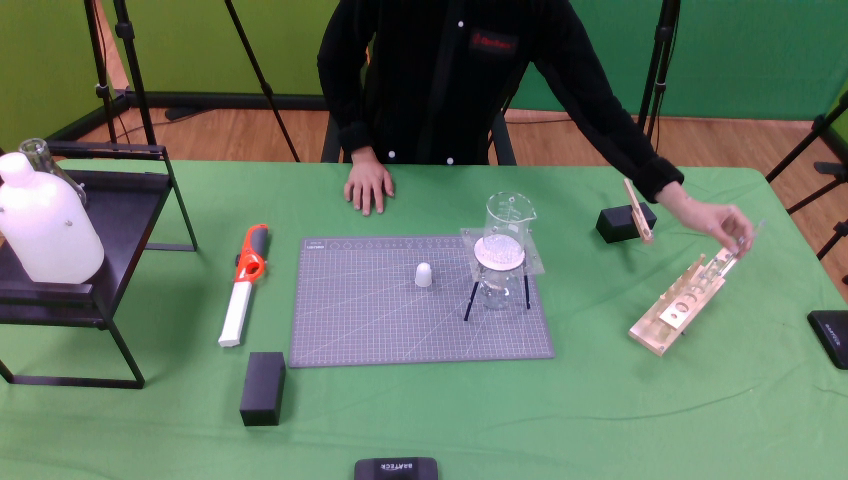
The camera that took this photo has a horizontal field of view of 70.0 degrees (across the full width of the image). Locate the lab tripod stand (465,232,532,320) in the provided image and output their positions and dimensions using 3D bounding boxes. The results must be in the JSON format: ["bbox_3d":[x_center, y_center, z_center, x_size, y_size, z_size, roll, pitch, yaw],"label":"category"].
[{"bbox_3d":[0.125,0.059,1.065,0.148,0.132,0.147,1,45,0],"label":"lab tripod stand"}]

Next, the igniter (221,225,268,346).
[{"bbox_3d":[-0.323,0.072,1.100,0.057,0.025,0.274,-6,45,5],"label":"igniter"}]

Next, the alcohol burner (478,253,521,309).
[{"bbox_3d":[0.134,0.067,1.073,0.078,0.120,0.077,0,47,0],"label":"alcohol burner"}]

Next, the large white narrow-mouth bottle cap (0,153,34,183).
[{"bbox_3d":[-0.510,-0.090,0.754,0.038,0.024,0.037,2,46,-2],"label":"large white narrow-mouth bottle cap"}]

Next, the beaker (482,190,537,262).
[{"bbox_3d":[0.136,-0.019,0.983,0.084,0.101,0.073,17,47,14],"label":"beaker"}]

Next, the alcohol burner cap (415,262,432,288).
[{"bbox_3d":[0.000,0.061,1.119,0.034,0.048,0.033,3,43,-3],"label":"alcohol burner cap"}]

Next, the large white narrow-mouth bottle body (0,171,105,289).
[{"bbox_3d":[-0.513,-0.029,0.818,0.102,0.195,0.101,2,46,-2],"label":"large white narrow-mouth bottle body"}]

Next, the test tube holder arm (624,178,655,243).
[{"bbox_3d":[0.432,-0.062,1.220,0.013,0.015,0.177,1,47,-4],"label":"test tube holder arm"}]

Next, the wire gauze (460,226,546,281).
[{"bbox_3d":[0.130,0.017,1.016,0.121,0.011,0.124,-4,43,-9],"label":"wire gauze"}]

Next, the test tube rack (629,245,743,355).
[{"bbox_3d":[0.474,0.095,1.091,0.242,0.085,0.066,-34,57,-31],"label":"test tube rack"}]

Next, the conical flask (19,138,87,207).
[{"bbox_3d":[-0.576,-0.097,0.930,0.075,0.122,0.075,2,46,-2],"label":"conical flask"}]

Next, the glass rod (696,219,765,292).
[{"bbox_3d":[0.510,0.031,1.016,0.008,0.200,0.008,7,49,-8],"label":"glass rod"}]

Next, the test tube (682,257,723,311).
[{"bbox_3d":[0.475,0.080,1.037,0.017,0.151,0.017,1,51,-1],"label":"test tube"}]

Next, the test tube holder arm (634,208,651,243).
[{"bbox_3d":[0.428,-0.030,1.189,0.010,0.015,0.087,2,47,-3],"label":"test tube holder arm"}]
